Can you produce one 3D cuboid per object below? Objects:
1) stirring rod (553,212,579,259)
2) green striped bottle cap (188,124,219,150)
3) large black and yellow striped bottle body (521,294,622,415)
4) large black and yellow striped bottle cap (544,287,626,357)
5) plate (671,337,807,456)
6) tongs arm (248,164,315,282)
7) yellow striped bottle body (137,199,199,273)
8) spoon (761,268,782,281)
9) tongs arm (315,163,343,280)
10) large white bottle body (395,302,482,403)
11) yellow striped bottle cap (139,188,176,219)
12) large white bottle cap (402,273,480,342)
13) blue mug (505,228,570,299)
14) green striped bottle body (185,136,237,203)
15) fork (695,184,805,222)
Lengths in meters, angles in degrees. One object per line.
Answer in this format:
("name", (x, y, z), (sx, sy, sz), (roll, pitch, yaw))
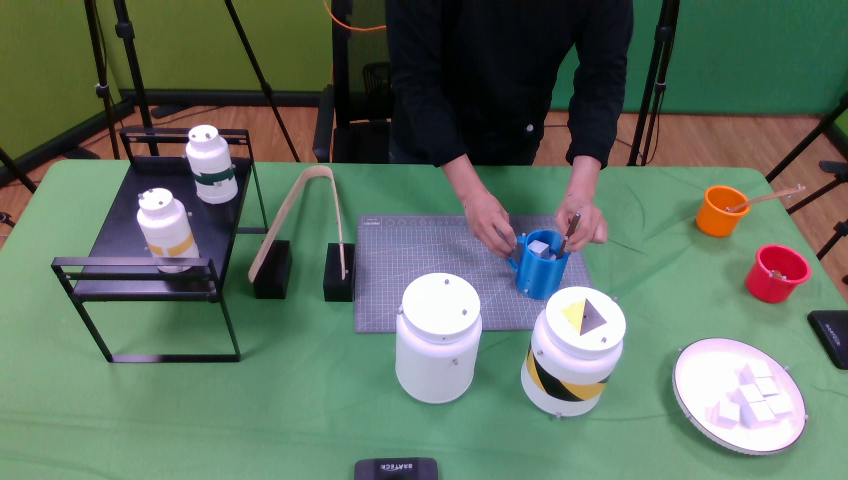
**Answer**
("stirring rod", (0.234, 0.020, 1.048), (0.014, 0.177, 0.006), (-19, 51, -30))
("green striped bottle cap", (-0.339, -0.158, 0.931), (0.044, 0.020, 0.044), (3, 46, -3))
("large black and yellow striped bottle body", (0.228, 0.173, 0.938), (0.131, 0.185, 0.130), (2, 47, -2))
("large black and yellow striped bottle cap", (0.232, 0.116, 0.876), (0.115, 0.019, 0.114), (2, 46, -1))
("plate", (0.503, 0.254, 0.984), (0.208, 0.039, 0.206), (2, 46, -2))
("tongs arm", (-0.269, -0.048, 1.165), (0.028, 0.028, 0.385), (0, 34, 7))
("yellow striped bottle body", (-0.366, -0.014, 0.863), (0.063, 0.121, 0.062), (2, 46, -2))
("spoon", (0.638, 0.060, 1.105), (0.041, 0.021, 0.194), (38, 11, 24))
("tongs arm", (-0.187, -0.049, 1.170), (0.051, 0.026, 0.382), (-5, 35, -6))
("large white bottle body", (0.020, 0.153, 0.939), (0.131, 0.185, 0.130), (2, 46, -2))
("yellow striped bottle cap", (-0.363, -0.050, 0.826), (0.044, 0.019, 0.044), (1, 47, -1))
("large white bottle cap", (0.024, 0.095, 0.878), (0.115, 0.018, 0.114), (2, 47, -2))
("blue mug", (0.201, 0.037, 1.115), (0.116, 0.106, 0.082), (25, 50, 19))
("green striped bottle body", (-0.341, -0.121, 0.968), (0.063, 0.120, 0.063), (2, 46, -2))
("fork", (0.657, -0.075, 1.230), (0.207, 0.019, 0.028), (-23, 32, 37))
